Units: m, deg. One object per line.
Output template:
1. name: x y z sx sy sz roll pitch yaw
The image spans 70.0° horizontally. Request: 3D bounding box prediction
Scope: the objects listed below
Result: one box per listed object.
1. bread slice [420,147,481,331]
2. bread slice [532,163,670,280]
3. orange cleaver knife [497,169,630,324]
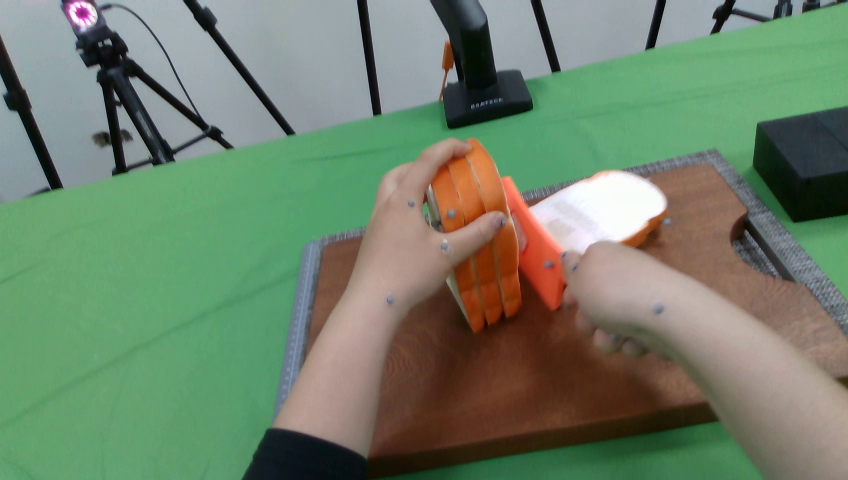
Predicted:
1. bread slice: 0.021 -0.009 0.499 0.018 0.135 0.106 -15 35 -3
2. bread slice: 0.154 -0.022 0.548 0.131 0.019 0.103 -29 38 -6
3. orange cleaver knife: 0.100 0.012 0.483 0.012 0.078 0.209 -11 34 -12
